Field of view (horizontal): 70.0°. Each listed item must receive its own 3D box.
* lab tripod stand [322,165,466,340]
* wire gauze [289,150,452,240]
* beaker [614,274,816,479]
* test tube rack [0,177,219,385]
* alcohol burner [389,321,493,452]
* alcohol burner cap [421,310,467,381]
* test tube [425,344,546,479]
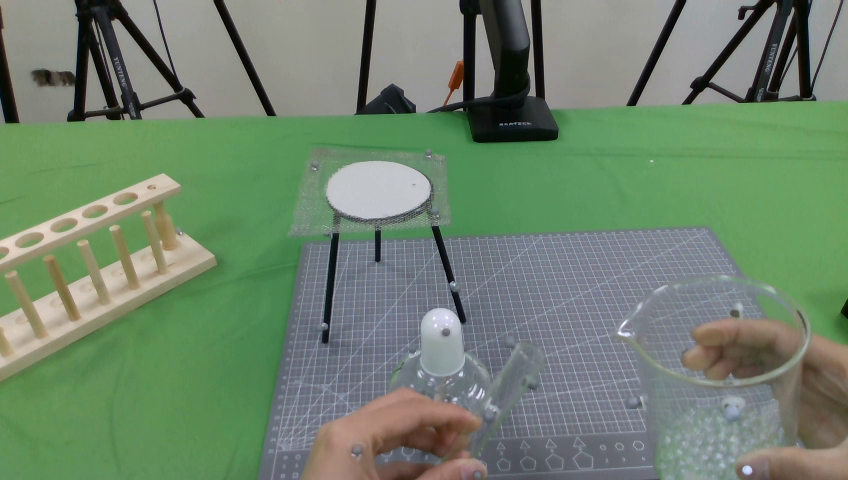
[{"bbox_3d":[-0.031,0.011,0.536,0.148,0.132,0.147,1,36,0],"label":"lab tripod stand"},{"bbox_3d":[-0.040,-0.041,0.493,0.121,0.011,0.124,0,38,-1],"label":"wire gauze"},{"bbox_3d":[0.142,0.079,0.299,0.083,0.101,0.073,-4,33,24],"label":"beaker"},{"bbox_3d":[-0.320,0.035,0.552,0.066,0.086,0.242,29,46,33],"label":"test tube rack"},{"bbox_3d":[0.012,0.098,0.438,0.078,0.120,0.077,0,39,0],"label":"alcohol burner"},{"bbox_3d":[0.013,0.069,0.416,0.034,0.048,0.033,-2,37,2],"label":"alcohol burner cap"},{"bbox_3d":[0.022,0.113,0.329,0.017,0.151,0.017,22,28,-12],"label":"test tube"}]
